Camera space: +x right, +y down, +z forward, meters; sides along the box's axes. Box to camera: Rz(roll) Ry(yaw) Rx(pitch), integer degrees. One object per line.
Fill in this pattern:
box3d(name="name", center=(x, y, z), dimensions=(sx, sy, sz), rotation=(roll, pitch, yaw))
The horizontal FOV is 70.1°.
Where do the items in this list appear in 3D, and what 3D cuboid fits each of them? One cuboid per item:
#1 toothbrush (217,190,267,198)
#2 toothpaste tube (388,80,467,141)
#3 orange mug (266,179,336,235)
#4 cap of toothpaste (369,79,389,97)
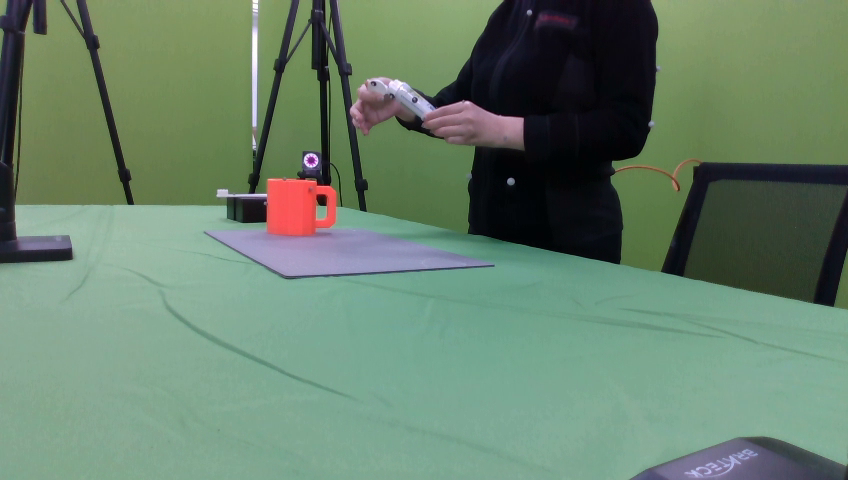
box3d(name="toothbrush", center=(-0.343, -0.096, 1.282), dimensions=(0.183, 0.016, 0.014), rotation=(-1, 5, -27))
box3d(name="toothpaste tube", center=(0.004, -0.226, 1.059), dimensions=(0.165, 0.034, 0.055), rotation=(36, 30, 2))
box3d(name="orange mug", center=(-0.222, -0.062, 1.094), dimensions=(0.127, 0.101, 0.083), rotation=(-5, 10, -22))
box3d(name="cap of toothpaste", center=(-0.077, -0.266, 1.050), dimensions=(0.037, 0.011, 0.037), rotation=(9, -36, 7))
